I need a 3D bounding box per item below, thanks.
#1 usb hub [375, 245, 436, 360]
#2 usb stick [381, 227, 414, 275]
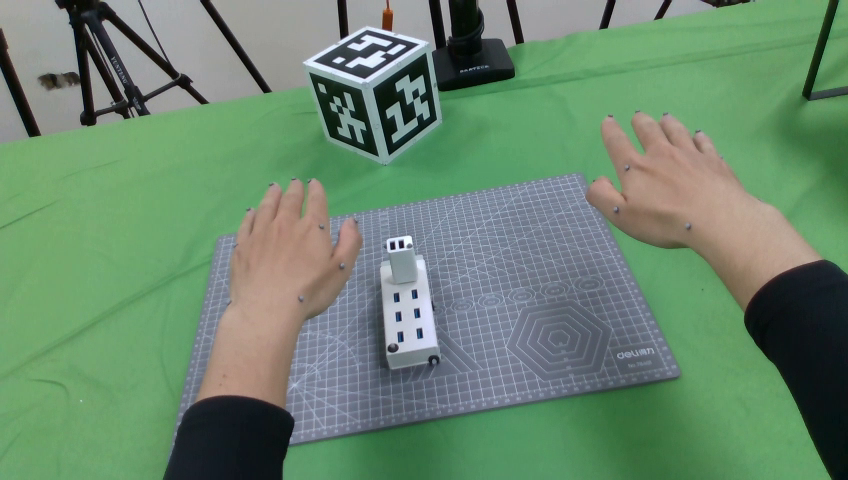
[{"bbox_3d":[-0.021,0.059,0.599,0.049,0.025,0.124,-11,43,1],"label":"usb hub"},{"bbox_3d":[-0.025,0.016,0.602,0.027,0.060,0.021,-13,44,0],"label":"usb stick"}]
